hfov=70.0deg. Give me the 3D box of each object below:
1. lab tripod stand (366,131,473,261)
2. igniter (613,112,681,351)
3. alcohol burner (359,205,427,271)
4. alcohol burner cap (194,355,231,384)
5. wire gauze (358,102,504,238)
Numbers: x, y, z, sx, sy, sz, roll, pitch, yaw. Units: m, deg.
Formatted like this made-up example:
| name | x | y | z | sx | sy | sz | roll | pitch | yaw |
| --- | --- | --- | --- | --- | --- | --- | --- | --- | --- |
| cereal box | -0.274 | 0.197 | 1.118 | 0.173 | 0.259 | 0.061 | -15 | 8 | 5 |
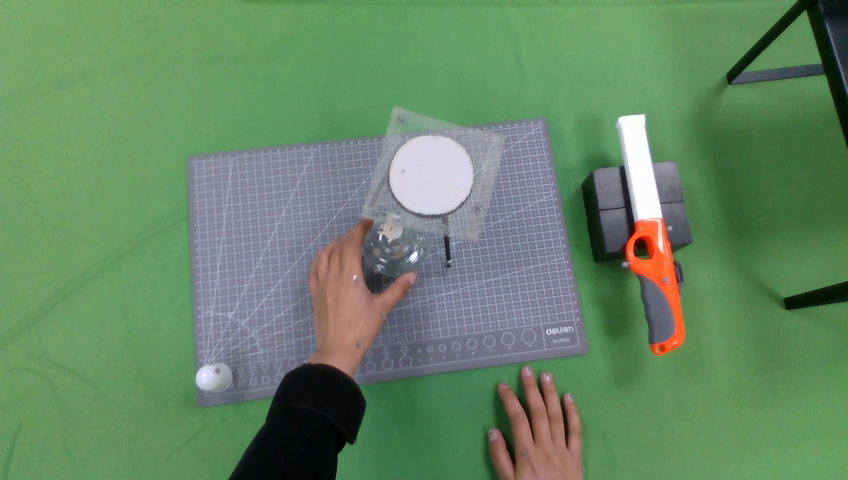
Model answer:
| name | x | y | z | sx | sy | sz | roll | pitch | yaw |
| --- | --- | --- | --- | --- | --- | --- | --- | --- | --- |
| lab tripod stand | 0.004 | -0.058 | 0.676 | 0.148 | 0.132 | 0.147 | 0 | 75 | -1 |
| igniter | 0.250 | -0.015 | 0.685 | 0.057 | 0.025 | 0.275 | -5 | 76 | 0 |
| alcohol burner | -0.035 | -0.005 | 0.673 | 0.078 | 0.119 | 0.077 | 0 | 79 | -2 |
| alcohol burner cap | -0.236 | 0.143 | 0.669 | 0.034 | 0.048 | 0.033 | 1 | 77 | -2 |
| wire gauze | 0.009 | -0.071 | 0.610 | 0.121 | 0.011 | 0.124 | 15 | 76 | 1 |
